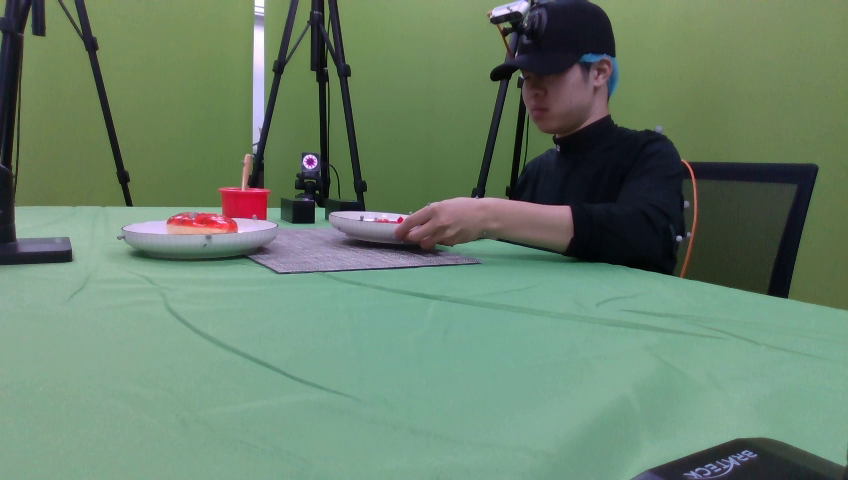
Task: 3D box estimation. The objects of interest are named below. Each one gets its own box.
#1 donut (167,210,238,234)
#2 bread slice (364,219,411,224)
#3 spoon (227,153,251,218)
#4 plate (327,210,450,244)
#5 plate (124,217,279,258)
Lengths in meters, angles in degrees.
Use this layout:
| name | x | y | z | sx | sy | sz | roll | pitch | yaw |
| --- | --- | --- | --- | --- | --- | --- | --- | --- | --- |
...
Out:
| name | x | y | z | sx | sy | sz | roll | pitch | yaw |
| --- | --- | --- | --- | --- | --- | --- | --- | --- | --- |
| donut | -0.321 | -0.017 | 0.882 | 0.099 | 0.048 | 0.099 | 3 | 6 | 0 |
| bread slice | -0.058 | -0.019 | 1.028 | 0.105 | 0.019 | 0.131 | 3 | 8 | -19 |
| spoon | -0.363 | -0.107 | 1.211 | 0.042 | 0.021 | 0.193 | -1 | 47 | -7 |
| plate | -0.061 | -0.022 | 1.028 | 0.209 | 0.038 | 0.209 | 5 | 7 | 0 |
| plate | -0.315 | -0.004 | 0.871 | 0.208 | 0.039 | 0.207 | 1 | 8 | 0 |
